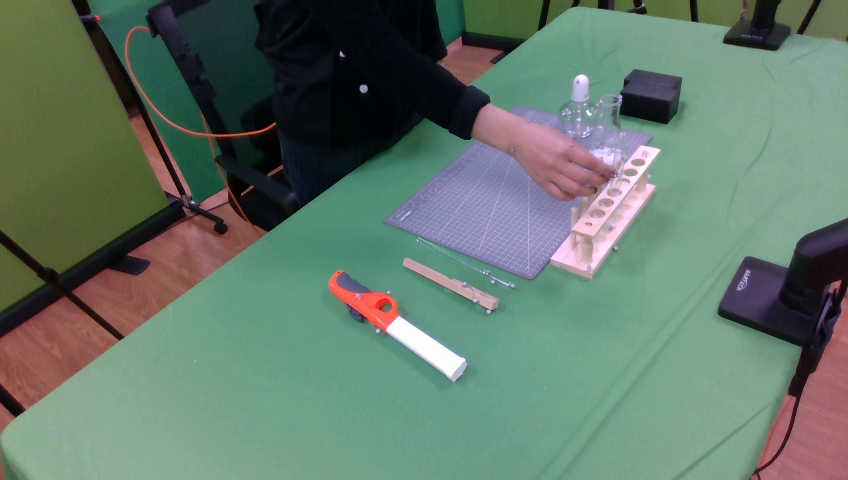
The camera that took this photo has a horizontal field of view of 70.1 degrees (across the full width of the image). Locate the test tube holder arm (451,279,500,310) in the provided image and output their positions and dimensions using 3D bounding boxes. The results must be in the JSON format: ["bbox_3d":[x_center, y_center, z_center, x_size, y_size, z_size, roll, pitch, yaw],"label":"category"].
[{"bbox_3d":[0.071,0.079,0.882,0.087,0.015,0.010,23,14,34],"label":"test tube holder arm"}]

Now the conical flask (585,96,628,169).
[{"bbox_3d":[0.324,-0.192,1.066,0.075,0.122,0.075,-6,40,5],"label":"conical flask"}]

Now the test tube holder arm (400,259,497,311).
[{"bbox_3d":[0.033,0.064,0.902,0.177,0.015,0.013,23,14,33],"label":"test tube holder arm"}]

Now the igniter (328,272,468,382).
[{"bbox_3d":[-0.048,0.114,0.854,0.274,0.025,0.057,29,63,37],"label":"igniter"}]

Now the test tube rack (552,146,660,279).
[{"bbox_3d":[0.286,-0.053,0.943,0.066,0.085,0.243,21,49,32],"label":"test tube rack"}]

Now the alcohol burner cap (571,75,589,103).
[{"bbox_3d":[0.294,-0.284,1.131,0.034,0.048,0.033,-5,46,5],"label":"alcohol burner cap"}]

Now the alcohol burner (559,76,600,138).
[{"bbox_3d":[0.298,-0.257,1.156,0.078,0.119,0.077,-4,39,4],"label":"alcohol burner"}]

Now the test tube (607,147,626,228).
[{"bbox_3d":[0.283,-0.074,0.891,0.017,0.151,0.017,-5,44,6],"label":"test tube"}]

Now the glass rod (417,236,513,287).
[{"bbox_3d":[0.059,0.032,0.944,0.198,0.008,0.008,27,53,37],"label":"glass rod"}]
